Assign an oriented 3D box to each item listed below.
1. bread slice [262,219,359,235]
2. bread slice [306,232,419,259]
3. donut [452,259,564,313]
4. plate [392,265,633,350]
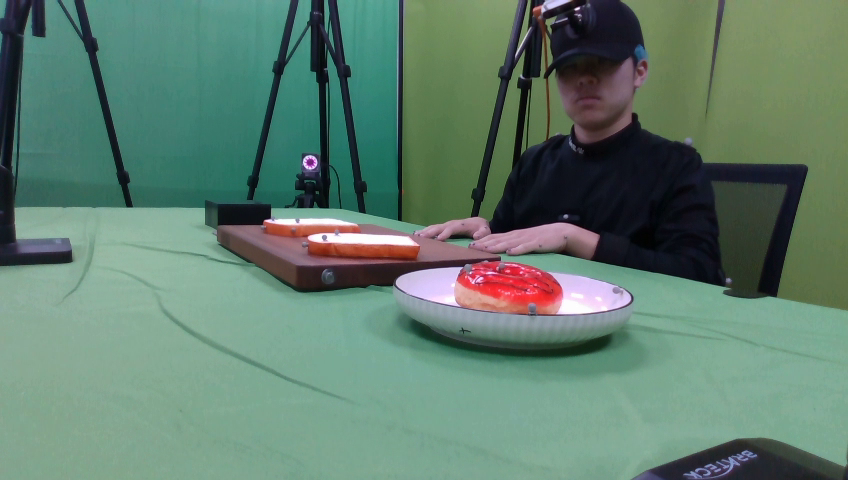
[{"bbox_3d":[-0.179,-0.021,0.931,0.132,0.019,0.104,-1,7,-35],"label":"bread slice"},{"bbox_3d":[-0.077,0.006,0.747,0.135,0.018,0.106,2,7,-12],"label":"bread slice"},{"bbox_3d":[0.074,0.045,0.536,0.099,0.048,0.099,4,8,0],"label":"donut"},{"bbox_3d":[0.074,0.056,0.533,0.209,0.038,0.209,3,7,0],"label":"plate"}]
